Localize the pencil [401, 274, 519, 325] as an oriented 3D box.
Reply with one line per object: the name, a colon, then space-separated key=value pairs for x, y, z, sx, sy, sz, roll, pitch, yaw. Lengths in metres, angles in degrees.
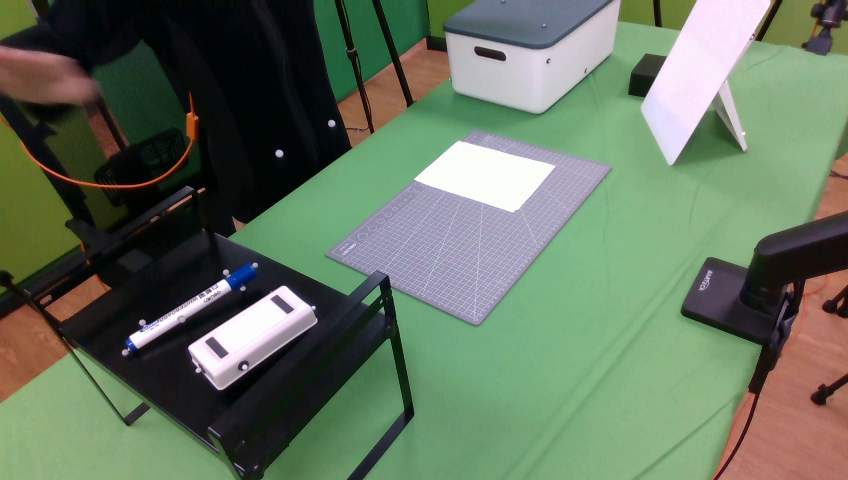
pencil: x=0.056 y=0.082 z=0.872 sx=0.195 sy=0.012 sz=0.012 roll=-20 pitch=42 yaw=-19

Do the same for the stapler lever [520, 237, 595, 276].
stapler lever: x=0.193 y=0.018 z=0.875 sx=0.118 sy=0.040 sz=0.026 roll=-21 pitch=43 yaw=-17

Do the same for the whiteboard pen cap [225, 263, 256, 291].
whiteboard pen cap: x=-0.204 y=0.041 z=0.668 sx=0.033 sy=0.018 sz=0.018 roll=-36 pitch=48 yaw=-22

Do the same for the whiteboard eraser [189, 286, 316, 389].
whiteboard eraser: x=-0.166 y=0.096 z=0.593 sx=0.113 sy=0.042 sz=0.055 roll=-36 pitch=47 yaw=-29

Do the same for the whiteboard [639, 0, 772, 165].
whiteboard: x=0.543 y=-0.298 z=1.076 sx=0.144 sy=0.305 sz=0.216 roll=12 pitch=40 yaw=-7

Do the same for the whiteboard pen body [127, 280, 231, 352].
whiteboard pen body: x=-0.248 y=0.072 z=0.645 sx=0.141 sy=0.017 sz=0.017 roll=-35 pitch=47 yaw=-23

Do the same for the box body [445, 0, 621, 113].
box body: x=0.249 y=-0.447 z=1.356 sx=0.252 sy=0.161 sz=0.365 roll=23 pitch=49 yaw=31

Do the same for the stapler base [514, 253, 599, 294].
stapler base: x=0.195 y=0.039 z=0.891 sx=0.131 sy=0.024 sz=0.041 roll=-22 pitch=43 yaw=-16

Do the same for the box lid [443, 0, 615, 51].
box lid: x=0.243 y=-0.504 z=1.308 sx=0.261 sy=0.015 sz=0.372 roll=24 pitch=50 yaw=31
